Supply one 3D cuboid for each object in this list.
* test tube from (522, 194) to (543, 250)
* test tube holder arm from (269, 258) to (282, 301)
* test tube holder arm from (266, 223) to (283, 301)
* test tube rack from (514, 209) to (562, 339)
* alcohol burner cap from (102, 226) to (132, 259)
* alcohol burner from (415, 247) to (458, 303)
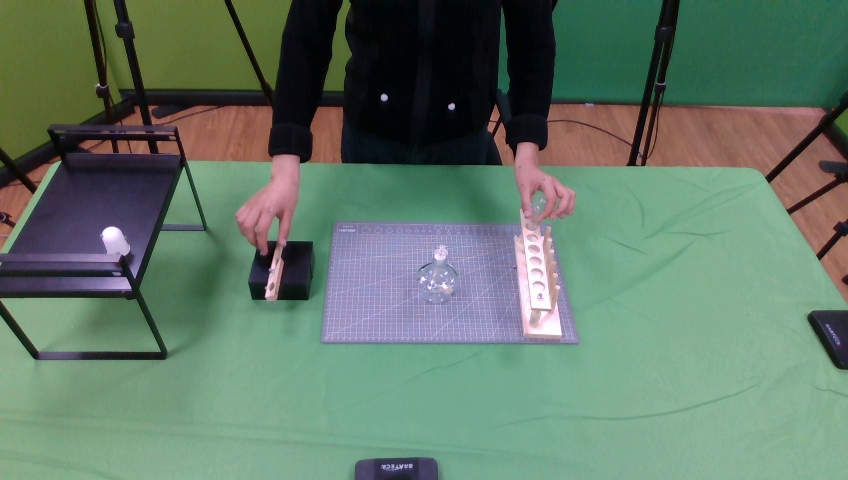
[{"bbox_3d":[0.201,-0.029,1.126,0.017,0.151,0.017,1,49,-1],"label":"test tube"},{"bbox_3d":[-0.257,0.067,1.049,0.010,0.015,0.087,-4,46,-1],"label":"test tube holder arm"},{"bbox_3d":[-0.266,0.035,1.080,0.013,0.015,0.177,-5,46,-2],"label":"test tube holder arm"},{"bbox_3d":[0.212,0.056,1.113,0.067,0.085,0.241,3,46,-1],"label":"test tube rack"},{"bbox_3d":[-0.457,0.001,0.897,0.034,0.048,0.033,2,46,-2],"label":"alcohol burner cap"},{"bbox_3d":[0.024,0.057,1.078,0.078,0.119,0.077,3,44,-2],"label":"alcohol burner"}]
